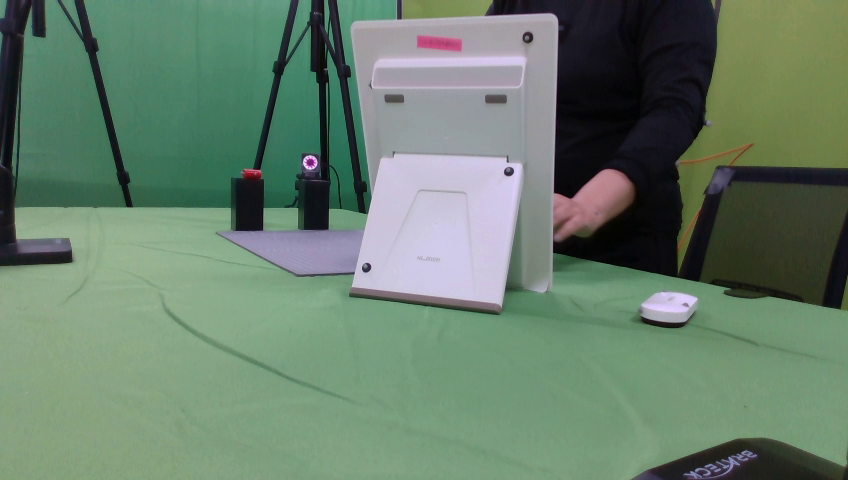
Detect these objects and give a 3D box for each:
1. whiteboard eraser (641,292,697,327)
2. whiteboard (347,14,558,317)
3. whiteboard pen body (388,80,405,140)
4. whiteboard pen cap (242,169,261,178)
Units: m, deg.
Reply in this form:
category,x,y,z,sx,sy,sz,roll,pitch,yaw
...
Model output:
category,x,y,z,sx,sy,sz,roll,pitch,yaw
whiteboard eraser,0.240,0.066,0.590,0.041,0.019,0.102,6,7,31
whiteboard,0.012,-0.056,0.609,0.216,0.305,0.144,5,27,20
whiteboard pen body,-0.042,-0.202,0.938,0.017,0.017,0.140,1,49,-15
whiteboard pen cap,-0.327,-0.126,1.144,0.032,0.017,0.017,-1,8,-36
